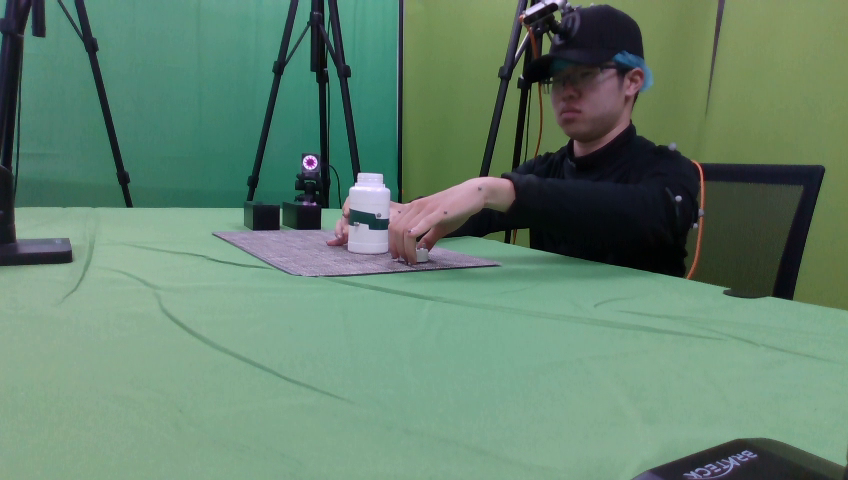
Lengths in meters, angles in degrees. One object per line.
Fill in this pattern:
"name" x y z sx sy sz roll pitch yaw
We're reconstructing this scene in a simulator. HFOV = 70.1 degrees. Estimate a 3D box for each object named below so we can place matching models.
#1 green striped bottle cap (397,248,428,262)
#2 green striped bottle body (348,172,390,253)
"green striped bottle cap" -0.016 0.021 0.849 0.044 0.020 0.044 -2 0 0
"green striped bottle body" -0.083 -0.043 0.912 0.063 0.119 0.063 1 8 0
